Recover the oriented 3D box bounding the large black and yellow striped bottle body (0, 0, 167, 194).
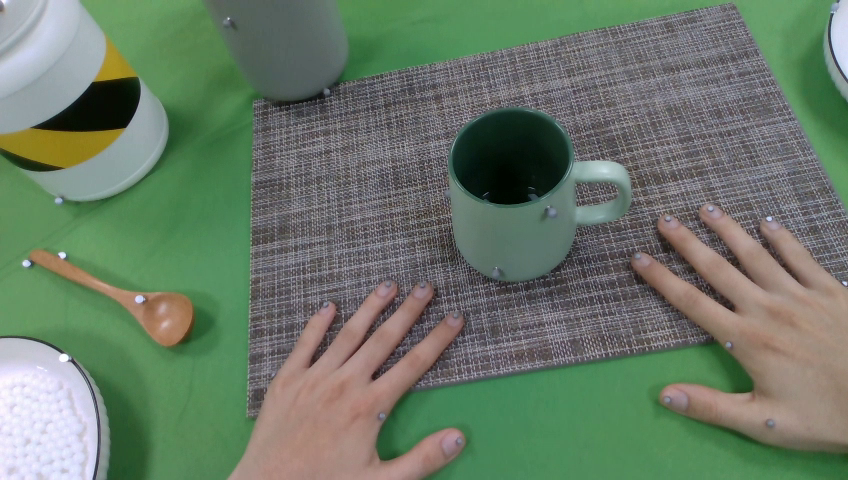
[{"bbox_3d":[-0.316,-0.136,0.495,0.130,0.185,0.129,-4,63,7],"label":"large black and yellow striped bottle body"}]

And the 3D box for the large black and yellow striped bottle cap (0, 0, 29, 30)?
[{"bbox_3d":[-0.329,-0.173,0.421,0.115,0.019,0.114,-3,61,7],"label":"large black and yellow striped bottle cap"}]

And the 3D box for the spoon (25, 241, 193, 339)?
[{"bbox_3d":[-0.260,0.032,0.492,0.193,0.022,0.041,20,86,18],"label":"spoon"}]

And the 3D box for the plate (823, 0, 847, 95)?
[{"bbox_3d":[0.419,-0.145,0.466,0.207,0.039,0.206,-4,63,8],"label":"plate"}]

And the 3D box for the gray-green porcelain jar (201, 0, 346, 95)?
[{"bbox_3d":[-0.130,-0.201,0.530,0.106,0.128,0.105,-4,58,7],"label":"gray-green porcelain jar"}]

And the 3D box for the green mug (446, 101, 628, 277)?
[{"bbox_3d":[0.077,-0.034,0.421,0.125,0.106,0.092,-2,62,8],"label":"green mug"}]

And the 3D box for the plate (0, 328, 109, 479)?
[{"bbox_3d":[-0.316,0.165,0.424,0.209,0.038,0.207,-4,62,7],"label":"plate"}]
